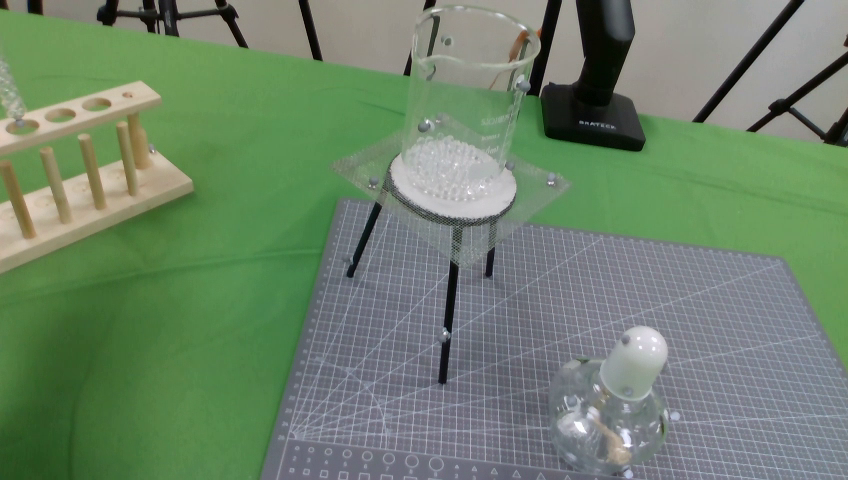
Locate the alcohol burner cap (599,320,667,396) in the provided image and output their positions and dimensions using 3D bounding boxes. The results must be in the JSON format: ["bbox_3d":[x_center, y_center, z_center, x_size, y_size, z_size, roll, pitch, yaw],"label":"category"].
[{"bbox_3d":[0.127,0.069,0.363,0.034,0.048,0.033,3,47,-3],"label":"alcohol burner cap"}]

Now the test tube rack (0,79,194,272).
[{"bbox_3d":[-0.313,-0.043,0.477,0.066,0.086,0.242,36,48,25],"label":"test tube rack"}]

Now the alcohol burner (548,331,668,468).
[{"bbox_3d":[0.123,0.094,0.388,0.078,0.120,0.077,7,42,-6],"label":"alcohol burner"}]

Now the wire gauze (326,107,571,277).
[{"bbox_3d":[0.018,-0.044,0.406,0.124,0.011,0.121,39,52,23],"label":"wire gauze"}]

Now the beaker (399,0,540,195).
[{"bbox_3d":[0.021,-0.084,0.376,0.084,0.101,0.073,-26,54,-31],"label":"beaker"}]

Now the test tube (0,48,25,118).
[{"bbox_3d":[-0.303,-0.149,0.409,0.017,0.151,0.017,4,43,-4],"label":"test tube"}]

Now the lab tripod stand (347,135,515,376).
[{"bbox_3d":[0.012,0.004,0.450,0.149,0.132,0.147,7,43,-6],"label":"lab tripod stand"}]
